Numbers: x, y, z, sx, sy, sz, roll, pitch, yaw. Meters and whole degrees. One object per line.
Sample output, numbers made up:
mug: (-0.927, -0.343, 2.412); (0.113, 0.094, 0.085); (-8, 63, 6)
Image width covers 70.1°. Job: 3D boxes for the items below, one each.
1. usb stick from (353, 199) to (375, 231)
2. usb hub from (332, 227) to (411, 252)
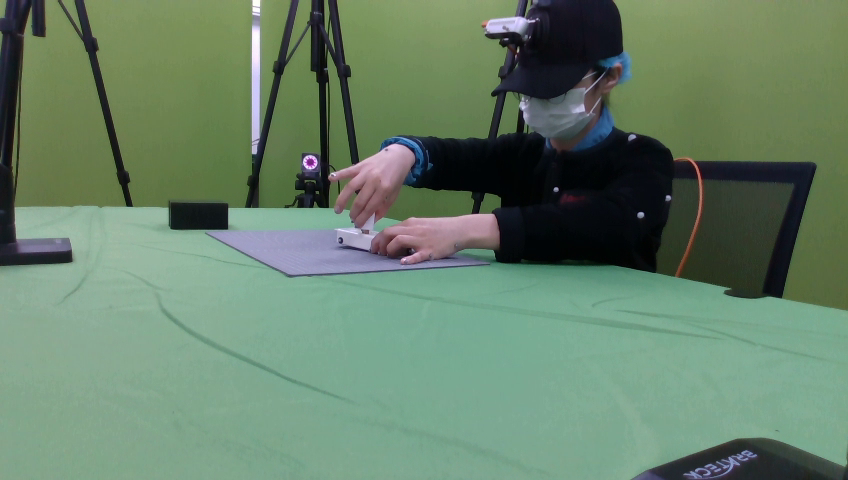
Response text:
usb stick: (-0.093, -0.034, 0.934); (0.021, 0.059, 0.027); (11, 10, 34)
usb hub: (-0.083, -0.002, 0.946); (0.124, 0.025, 0.050); (8, 8, 37)
